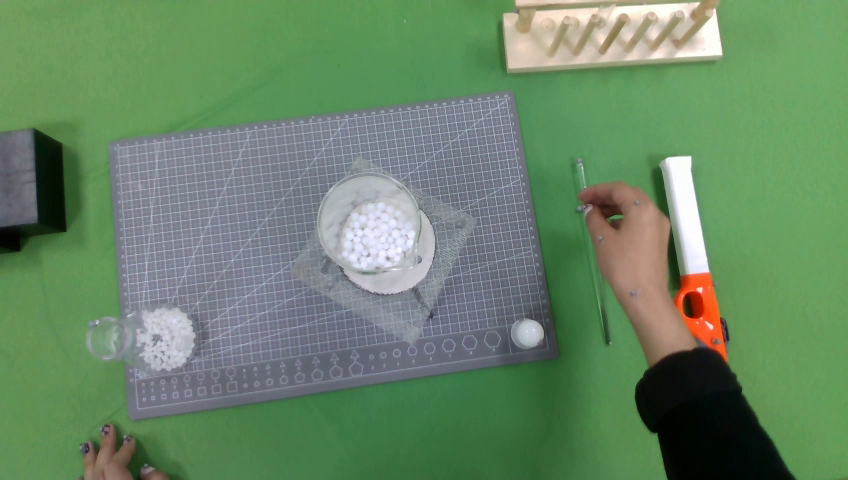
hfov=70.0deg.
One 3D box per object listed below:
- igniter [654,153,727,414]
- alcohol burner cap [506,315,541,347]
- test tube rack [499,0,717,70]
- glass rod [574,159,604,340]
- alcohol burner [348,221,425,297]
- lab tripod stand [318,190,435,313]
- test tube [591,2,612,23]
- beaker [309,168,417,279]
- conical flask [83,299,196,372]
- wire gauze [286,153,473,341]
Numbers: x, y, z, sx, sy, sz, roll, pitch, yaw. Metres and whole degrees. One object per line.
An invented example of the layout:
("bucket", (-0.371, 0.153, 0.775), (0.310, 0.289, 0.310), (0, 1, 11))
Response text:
("igniter", (0.283, 0.043, 0.645), (0.057, 0.025, 0.275), (-5, 82, -13))
("alcohol burner cap", (0.104, 0.092, 0.624), (0.034, 0.048, 0.033), (1, 79, -3))
("test tube rack", (0.208, -0.240, 0.655), (0.242, 0.085, 0.066), (-4, 81, -2))
("glass rod", (0.179, 0.009, 0.658), (0.008, 0.008, 0.199), (-6, 85, -2))
("alcohol burner", (-0.038, 0.017, 0.596), (0.078, 0.119, 0.077), (0, 82, 1))
("lab tripod stand", (-0.040, 0.012, 0.586), (0.148, 0.132, 0.148), (0, 83, 0))
("test tube", (0.191, -0.260, 0.607), (0.017, 0.150, 0.017), (0, 81, 2))
("beaker", (-0.040, -0.006, 0.474), (0.084, 0.100, 0.074), (43, 84, 5))
("conical flask", (-0.273, 0.091, 0.576), (0.075, 0.122, 0.075), (0, 81, -1))
("wire gauze", (-0.037, 0.004, 0.521), (0.125, 0.011, 0.121), (29, 85, 1))
